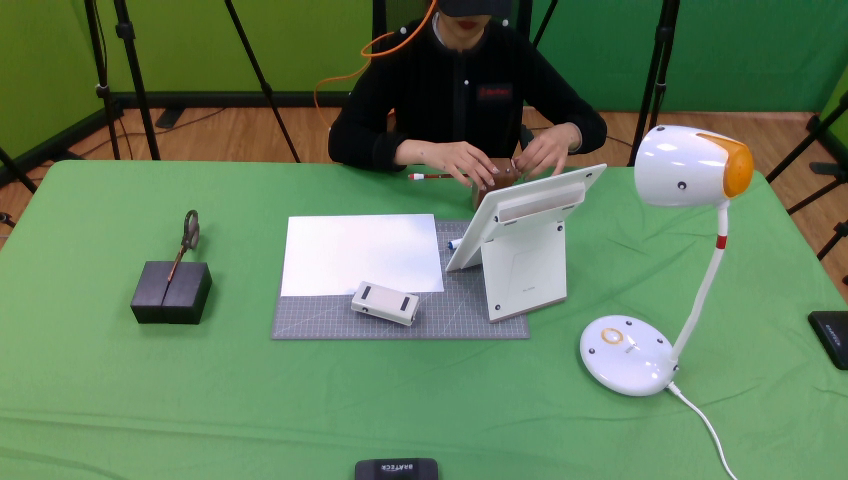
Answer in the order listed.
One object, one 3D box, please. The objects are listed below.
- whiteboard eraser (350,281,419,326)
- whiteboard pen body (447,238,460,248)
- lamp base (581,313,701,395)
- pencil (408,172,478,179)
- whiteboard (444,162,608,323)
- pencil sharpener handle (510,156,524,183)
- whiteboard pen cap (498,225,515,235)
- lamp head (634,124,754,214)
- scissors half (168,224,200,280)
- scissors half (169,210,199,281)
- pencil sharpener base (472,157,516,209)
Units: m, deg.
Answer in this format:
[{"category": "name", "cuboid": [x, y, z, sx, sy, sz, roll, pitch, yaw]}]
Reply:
[{"category": "whiteboard eraser", "cuboid": [-0.069, 0.113, 1.065, 0.112, 0.042, 0.055, 14, 46, 9]}, {"category": "whiteboard pen body", "cuboid": [0.112, -0.005, 1.203, 0.141, 0.017, 0.017, -14, 49, -18]}, {"category": "lamp base", "cuboid": [0.361, 0.144, 0.973, 0.178, 0.181, 0.160, 34, 53, 23]}, {"category": "pencil", "cuboid": [0.065, -0.134, 1.233, 0.194, 0.012, 0.012, -3, 47, -6]}, {"category": "whiteboard", "cuboid": [0.186, 0.025, 1.029, 0.217, 0.306, 0.143, -14, 68, -18]}, {"category": "pencil sharpener handle", "cuboid": [0.196, -0.149, 1.254, 0.031, 0.036, 0.067, -2, 52, -6]}, {"category": "whiteboard pen cap", "cuboid": [0.166, -0.019, 1.222, 0.033, 0.018, 0.018, -14, 49, -19]}, {"category": "lamp head", "cuboid": [0.351, -0.089, 0.775, 0.112, 0.113, 0.122, -30, 30, -28]}, {"category": "scissors half", "cuboid": [-0.440, 0.023, 1.111, 0.013, 0.040, 0.174, 7, 29, -6]}, {"category": "scissors half", "cuboid": [-0.438, 0.007, 1.098, 0.013, 0.040, 0.174, 3, 47, -3]}, {"category": "pencil sharpener base", "cuboid": [0.145, -0.115, 1.259, 0.077, 0.107, 0.061, -2, 46, -6]}]
